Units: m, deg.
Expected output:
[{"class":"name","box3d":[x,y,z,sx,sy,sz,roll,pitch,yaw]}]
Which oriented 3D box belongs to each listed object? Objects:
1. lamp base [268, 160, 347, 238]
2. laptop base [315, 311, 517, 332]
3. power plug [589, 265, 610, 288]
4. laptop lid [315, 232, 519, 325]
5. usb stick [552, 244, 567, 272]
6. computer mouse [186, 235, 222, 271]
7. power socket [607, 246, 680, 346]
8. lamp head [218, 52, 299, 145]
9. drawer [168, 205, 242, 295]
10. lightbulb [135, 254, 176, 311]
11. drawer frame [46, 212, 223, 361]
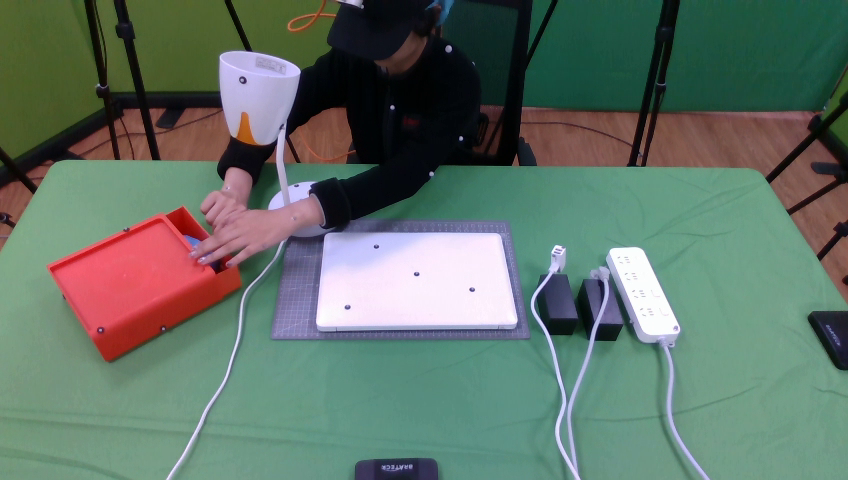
[{"class":"lamp base","box3d":[-0.240,-0.111,1.175,0.160,0.181,0.178,12,49,11]},{"class":"laptop base","box3d":[-0.016,0.075,1.125,0.355,0.023,0.234,0,42,-4]},{"class":"power plug","box3d":[0.318,0.073,1.108,0.035,0.053,0.072,26,34,13]},{"class":"laptop lid","box3d":[-0.015,0.065,1.118,0.357,0.013,0.240,1,43,-3]},{"class":"usb stick","box3d":[0.251,0.039,1.124,0.021,0.059,0.027,14,48,24]},{"class":"computer mouse","box3d":[-0.431,0.028,1.119,0.116,0.041,0.063,29,53,28]},{"class":"power socket","box3d":[0.403,0.096,1.123,0.072,0.033,0.225,-3,46,-5]},{"class":"lamp head","box3d":[-0.246,-0.205,0.890,0.112,0.123,0.112,11,33,-7]},{"class":"drawer","box3d":[-0.466,0.054,1.072,0.212,0.073,0.193,-32,57,-29]},{"class":"lightbulb","box3d":[-0.465,0.073,1.064,0.059,0.060,0.107,9,62,5]},{"class":"drawer frame","box3d":[-0.495,0.072,1.050,0.213,0.083,0.200,-33,56,-30]}]
